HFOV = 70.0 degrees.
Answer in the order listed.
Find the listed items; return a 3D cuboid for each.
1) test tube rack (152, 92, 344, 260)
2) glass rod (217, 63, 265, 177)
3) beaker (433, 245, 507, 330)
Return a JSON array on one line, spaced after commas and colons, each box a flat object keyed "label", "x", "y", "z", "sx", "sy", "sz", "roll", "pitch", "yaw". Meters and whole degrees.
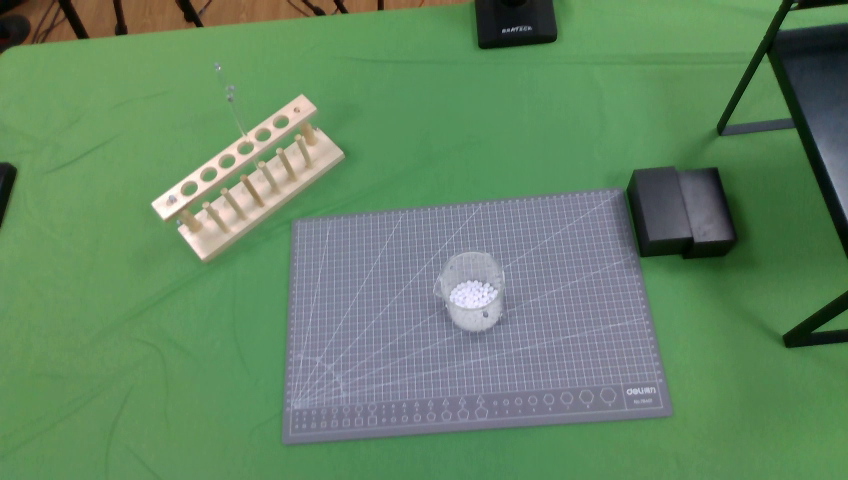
[{"label": "test tube rack", "x": -0.231, "y": -0.087, "z": 0.820, "sx": 0.242, "sy": 0.086, "sz": 0.066, "roll": -40, "pitch": 68, "yaw": -12}, {"label": "glass rod", "x": -0.231, "y": -0.146, "z": 0.774, "sx": 0.008, "sy": 0.201, "sz": 0.008, "roll": -1, "pitch": 57, "yaw": 2}, {"label": "beaker", "x": 0.055, "y": 0.062, "z": 0.713, "sx": 0.084, "sy": 0.101, "sz": 0.073, "roll": -16, "pitch": 64, "yaw": -1}]
